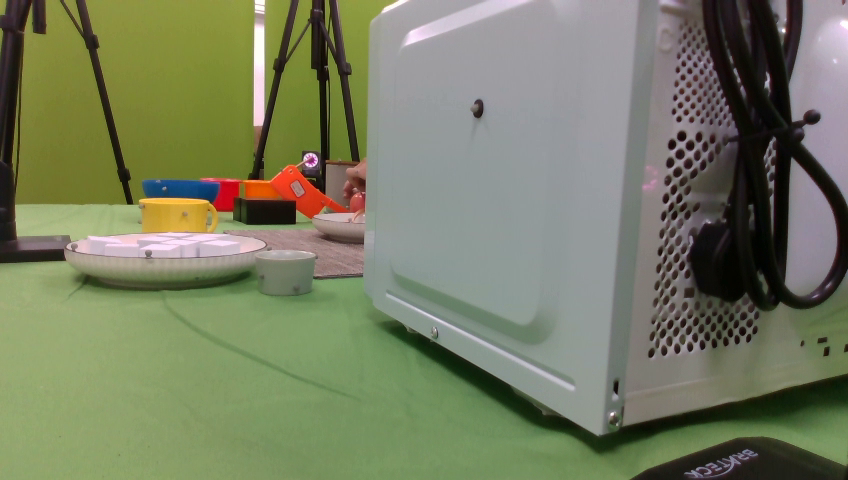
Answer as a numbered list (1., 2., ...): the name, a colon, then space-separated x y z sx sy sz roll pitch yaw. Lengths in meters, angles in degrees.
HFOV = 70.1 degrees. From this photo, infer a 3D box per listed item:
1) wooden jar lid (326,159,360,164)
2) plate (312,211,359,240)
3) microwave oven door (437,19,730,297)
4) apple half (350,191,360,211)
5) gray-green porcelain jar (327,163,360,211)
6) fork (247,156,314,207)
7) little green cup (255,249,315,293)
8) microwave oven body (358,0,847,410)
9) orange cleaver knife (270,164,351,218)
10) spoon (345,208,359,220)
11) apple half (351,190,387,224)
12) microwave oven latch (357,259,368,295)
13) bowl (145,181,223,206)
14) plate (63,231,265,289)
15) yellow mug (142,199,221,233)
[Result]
1. wooden jar lid: -0.185 -0.187 1.481 0.108 0.020 0.108 4 6 0
2. plate: -0.091 -0.026 1.063 0.209 0.038 0.209 2 7 0
3. microwave oven door: 0.180 -0.076 0.618 0.358 0.243 0.039 -2 9 -28
4. apple half: -0.112 -0.066 1.263 0.081 0.074 0.053 4 10 -11
5. gray-green porcelain jar: -0.186 -0.125 1.490 0.106 0.126 0.106 1 8 0
6. fork: -0.360 -0.147 1.522 0.207 0.018 0.028 -43 11 -7
7. little green cup: -0.144 0.032 0.627 0.061 0.038 0.061 2 5 0
8. microwave oven body: 0.210 -0.051 0.471 0.444 0.260 0.324 -1 7 -28
9. orange cleaver knife: -0.240 -0.088 1.329 0.212 0.077 0.012 36 -9 -34
10. spoon: -0.123 -0.047 1.116 0.041 0.021 0.194 -5 18 17
11. apple half: -0.120 -0.073 1.301 0.081 0.081 0.032 0 12 -12
12. microwave oven latch: -0.019 0.031 0.529 0.079 0.029 0.030 -1 7 -26
13. bowl: -0.499 -0.081 1.261 0.151 0.077 0.151 2 7 0
14. plate: -0.288 0.021 0.687 0.208 0.039 0.207 2 8 0
15. yellow mug: -0.372 -0.030 0.948 0.099 0.064 0.131 6 7 30
